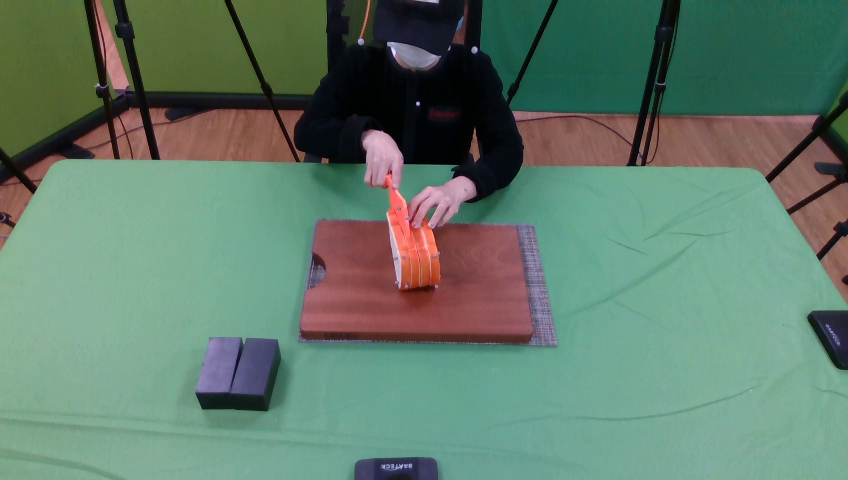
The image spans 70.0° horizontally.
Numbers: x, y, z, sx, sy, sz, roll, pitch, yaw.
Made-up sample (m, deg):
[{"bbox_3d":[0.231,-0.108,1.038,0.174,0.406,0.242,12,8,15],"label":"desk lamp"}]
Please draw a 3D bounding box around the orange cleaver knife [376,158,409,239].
[{"bbox_3d":[-0.057,-0.077,1.079,0.012,0.077,0.210,-10,36,-13],"label":"orange cleaver knife"}]

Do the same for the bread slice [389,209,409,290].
[{"bbox_3d":[-0.046,0.022,1.078,0.019,0.105,0.130,-6,53,-8],"label":"bread slice"}]

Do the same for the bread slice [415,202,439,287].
[{"bbox_3d":[0.005,0.017,1.089,0.018,0.107,0.133,-10,54,-7],"label":"bread slice"}]
